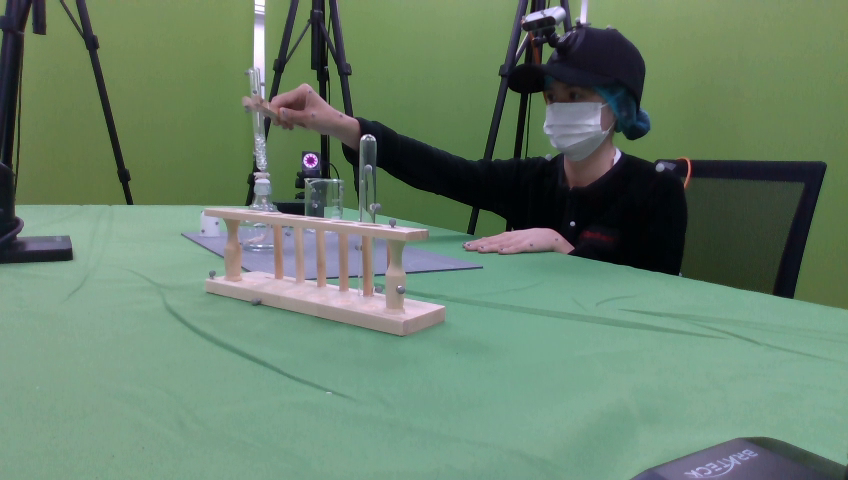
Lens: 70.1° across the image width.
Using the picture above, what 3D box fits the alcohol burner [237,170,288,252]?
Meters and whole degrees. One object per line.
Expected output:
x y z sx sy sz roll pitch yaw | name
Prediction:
-0.236 -0.042 0.882 0.078 0.119 0.078 2 9 0 | alcohol burner

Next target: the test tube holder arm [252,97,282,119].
-0.233 -0.196 0.901 0.010 0.015 0.088 -4 -2 9 | test tube holder arm

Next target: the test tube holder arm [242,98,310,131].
-0.227 -0.194 0.946 0.013 0.015 0.179 -3 -2 17 | test tube holder arm

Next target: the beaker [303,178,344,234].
-0.189 -0.063 1.119 0.073 0.100 0.084 6 9 28 | beaker

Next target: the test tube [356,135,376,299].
-0.053 -0.019 0.550 0.017 0.150 0.017 2 9 0 | test tube

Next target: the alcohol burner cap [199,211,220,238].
-0.356 -0.027 1.002 0.034 0.048 0.034 3 7 0 | alcohol burner cap

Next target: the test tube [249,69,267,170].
-0.241 -0.175 0.878 0.017 0.150 0.017 -5 -4 0 | test tube

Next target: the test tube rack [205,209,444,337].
-0.100 0.021 0.565 0.241 0.085 0.067 7 9 32 | test tube rack
